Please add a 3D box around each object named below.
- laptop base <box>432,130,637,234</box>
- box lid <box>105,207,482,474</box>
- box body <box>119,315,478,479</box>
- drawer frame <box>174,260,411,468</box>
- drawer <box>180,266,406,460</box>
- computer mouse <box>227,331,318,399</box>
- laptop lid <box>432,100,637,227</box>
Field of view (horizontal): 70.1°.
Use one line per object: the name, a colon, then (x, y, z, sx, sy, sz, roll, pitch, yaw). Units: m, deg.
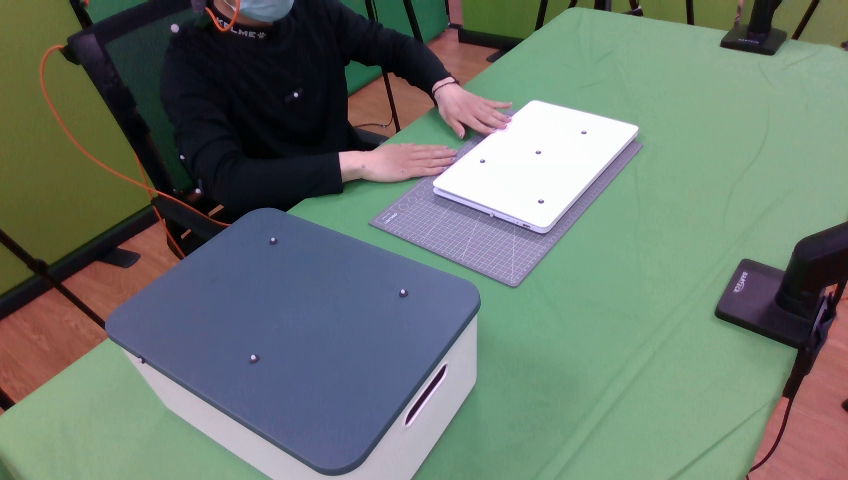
laptop base: (0.210, -0.142, 1.111, 0.233, 0.023, 0.355, 21, 48, 33)
box lid: (-0.149, 0.079, 0.677, 0.369, 0.015, 0.264, 20, 46, 28)
box body: (-0.140, 0.136, 0.725, 0.361, 0.161, 0.254, 19, 47, 28)
drawer frame: (-0.162, 0.144, 0.769, 0.212, 0.083, 0.202, 24, 50, 30)
drawer: (-0.162, 0.145, 0.771, 0.210, 0.073, 0.195, 22, 46, 32)
computer mouse: (-0.201, 0.159, 0.804, 0.118, 0.041, 0.062, -29, 40, -33)
laptop lid: (0.207, -0.156, 1.101, 0.240, 0.013, 0.358, 25, 50, 32)
